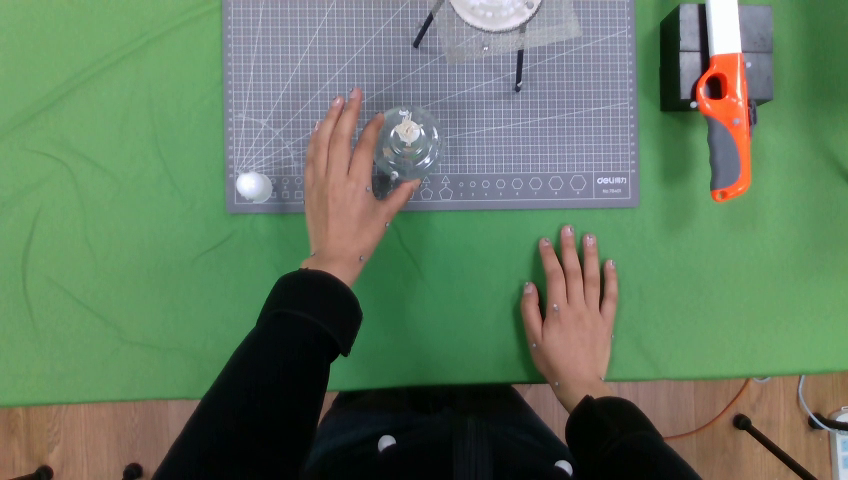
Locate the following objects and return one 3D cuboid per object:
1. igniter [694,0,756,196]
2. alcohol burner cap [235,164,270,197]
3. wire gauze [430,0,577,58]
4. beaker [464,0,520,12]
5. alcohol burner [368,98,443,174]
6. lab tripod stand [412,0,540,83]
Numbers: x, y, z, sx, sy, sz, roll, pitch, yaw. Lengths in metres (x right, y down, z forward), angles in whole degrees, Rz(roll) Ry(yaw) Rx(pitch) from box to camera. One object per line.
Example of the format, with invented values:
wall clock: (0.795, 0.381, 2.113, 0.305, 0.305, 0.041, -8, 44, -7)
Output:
igniter: (0.305, -0.183, 0.619, 0.057, 0.025, 0.276, -2, 89, 8)
alcohol burner cap: (-0.181, -0.064, 0.630, 0.034, 0.048, 0.034, 0, 89, -3)
wire gauze: (0.063, -0.229, 0.532, 0.125, 0.011, 0.121, -15, 91, -5)
beaker: (0.058, -0.234, 0.484, 0.084, 0.100, 0.074, -3, 88, -3)
alcohol burner: (-0.018, -0.106, 0.603, 0.078, 0.119, 0.078, 0, 91, -3)
lab tripod stand: (0.060, -0.235, 0.598, 0.148, 0.131, 0.148, 0, 88, -1)
